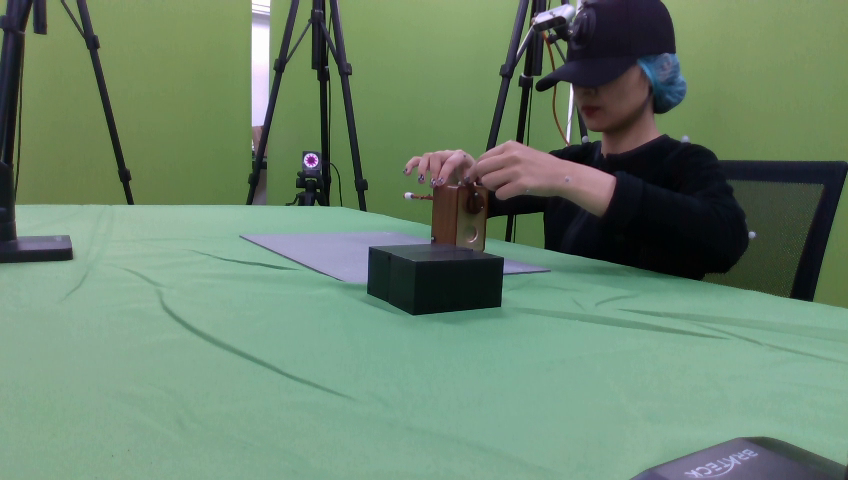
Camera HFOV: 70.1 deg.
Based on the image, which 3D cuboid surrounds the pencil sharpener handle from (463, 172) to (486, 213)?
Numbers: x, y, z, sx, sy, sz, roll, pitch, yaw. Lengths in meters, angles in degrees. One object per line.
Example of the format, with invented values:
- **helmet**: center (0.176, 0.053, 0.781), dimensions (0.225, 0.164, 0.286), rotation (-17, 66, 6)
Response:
- **pencil sharpener handle**: center (0.079, -0.070, 0.891), dimensions (0.036, 0.068, 0.030), rotation (-38, 26, -22)

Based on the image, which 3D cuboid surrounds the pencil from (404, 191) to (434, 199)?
- **pencil**: center (0.015, -0.073, 1.014), dimensions (0.012, 0.012, 0.193), rotation (-2, 7, -30)

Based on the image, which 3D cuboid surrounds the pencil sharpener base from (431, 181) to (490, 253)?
- **pencil sharpener base**: center (0.057, -0.036, 0.943), dimensions (0.062, 0.107, 0.076), rotation (-2, 9, -32)
